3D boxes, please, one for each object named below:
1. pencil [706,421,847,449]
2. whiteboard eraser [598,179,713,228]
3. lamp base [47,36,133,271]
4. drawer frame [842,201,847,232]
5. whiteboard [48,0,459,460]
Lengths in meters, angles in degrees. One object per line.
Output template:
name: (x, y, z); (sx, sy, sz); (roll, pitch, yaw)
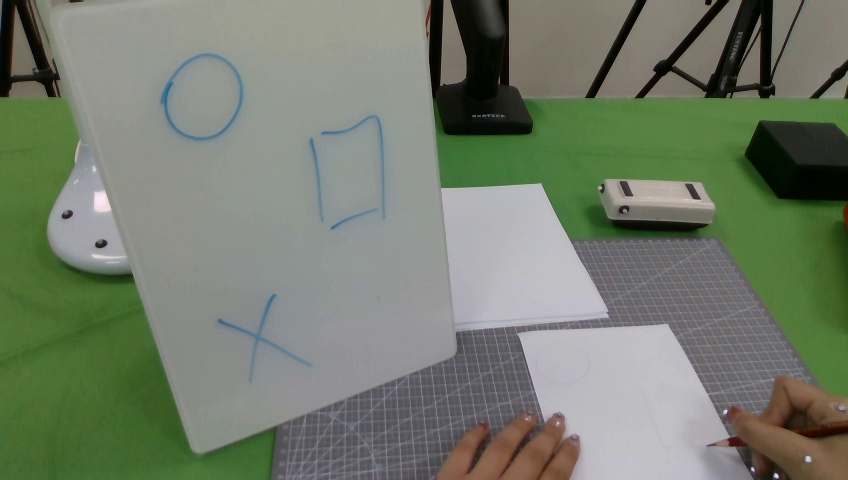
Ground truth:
pencil: (0.273, 0.122, 0.394); (0.012, 0.194, 0.012); (19, 57, -31)
whiteboard eraser: (0.254, -0.040, 0.670); (0.113, 0.042, 0.055); (3, 41, -2)
lamp base: (-0.297, -0.088, 0.569); (0.178, 0.182, 0.160); (26, 45, 26)
drawer frame: (0.539, 0.031, 0.582); (0.201, 0.083, 0.212); (14, 41, 12)
whiteboard: (-0.111, -0.031, 0.468); (0.218, 0.307, 0.142); (-16, 25, -21)
